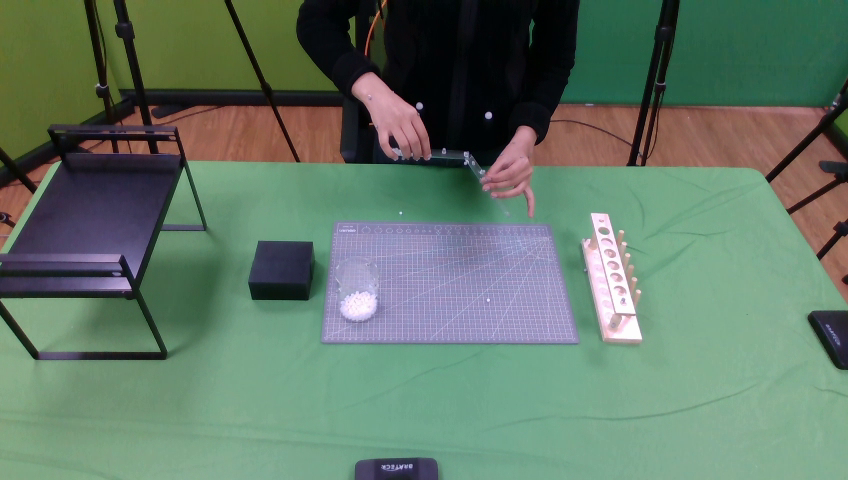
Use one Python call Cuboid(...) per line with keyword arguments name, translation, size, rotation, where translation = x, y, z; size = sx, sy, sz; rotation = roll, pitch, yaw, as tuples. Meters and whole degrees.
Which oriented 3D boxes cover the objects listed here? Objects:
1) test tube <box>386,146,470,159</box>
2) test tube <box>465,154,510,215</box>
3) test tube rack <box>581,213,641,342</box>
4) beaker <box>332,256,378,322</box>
Cuboid(name="test tube", translation=(0.007, -0.158, 1.087), size=(0.150, 0.017, 0.017), rotation=(3, 46, -3))
Cuboid(name="test tube", translation=(0.120, -0.101, 1.129), size=(0.017, 0.151, 0.017), rotation=(-29, 31, 19))
Cuboid(name="test tube rack", translation=(0.351, 0.064, 1.121), size=(0.067, 0.085, 0.241), rotation=(3, 46, -1))
Cuboid(name="beaker", translation=(-0.114, 0.089, 1.047), size=(0.083, 0.101, 0.074), rotation=(30, 52, 21))
